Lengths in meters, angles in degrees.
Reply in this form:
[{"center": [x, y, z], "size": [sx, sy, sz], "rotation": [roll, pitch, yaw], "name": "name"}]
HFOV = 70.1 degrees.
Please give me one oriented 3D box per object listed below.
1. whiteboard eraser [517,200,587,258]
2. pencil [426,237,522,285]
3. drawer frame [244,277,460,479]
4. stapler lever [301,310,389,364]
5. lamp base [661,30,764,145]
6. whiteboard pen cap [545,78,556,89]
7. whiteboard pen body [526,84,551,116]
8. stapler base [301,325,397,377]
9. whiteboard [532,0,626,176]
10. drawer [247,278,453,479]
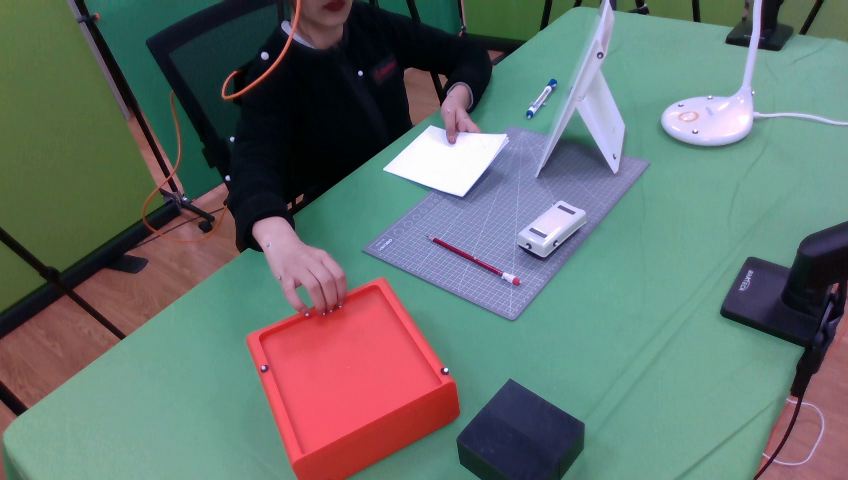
[{"center": [0.201, -0.016, 0.943], "size": [0.113, 0.042, 0.055], "rotation": [-37, 46, -29], "name": "whiteboard eraser"}, {"center": [0.072, 0.029, 0.941], "size": [0.192, 0.012, 0.012], "rotation": [26, 52, 37], "name": "pencil"}, {"center": [-0.093, 0.167, 0.755], "size": [0.202, 0.083, 0.211], "rotation": [-23, 43, -17], "name": "drawer frame"}, {"center": [-0.104, 0.127, 0.798], "size": [0.118, 0.040, 0.026], "rotation": [-17, 42, -15], "name": "stapler lever"}, {"center": [0.535, -0.287, 1.096], "size": [0.179, 0.181, 0.159], "rotation": [-10, 40, -4], "name": "lamp base"}, {"center": [0.280, -0.344, 1.335], "size": [0.018, 0.018, 0.033], "rotation": [15, 45, 26], "name": "whiteboard pen cap"}, {"center": [0.251, -0.305, 1.298], "size": [0.017, 0.017, 0.141], "rotation": [15, 45, 26], "name": "whiteboard pen body"}, {"center": [-0.101, 0.143, 0.814], "size": [0.131, 0.024, 0.041], "rotation": [-18, 42, -13], "name": "stapler base"}, {"center": [0.321, -0.258, 1.050], "size": [0.144, 0.306, 0.217], "rotation": [22, 45, 5], "name": "whiteboard"}, {"center": [-0.096, 0.167, 0.757], "size": [0.195, 0.073, 0.210], "rotation": [-22, 42, -16], "name": "drawer"}]
